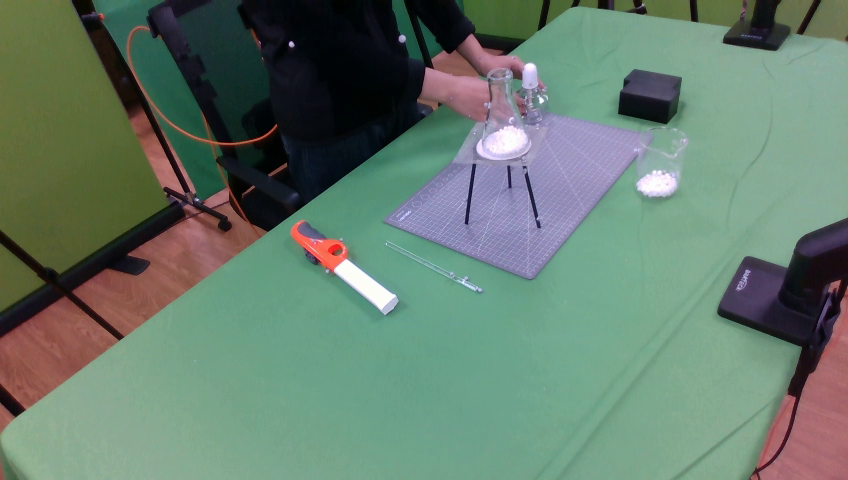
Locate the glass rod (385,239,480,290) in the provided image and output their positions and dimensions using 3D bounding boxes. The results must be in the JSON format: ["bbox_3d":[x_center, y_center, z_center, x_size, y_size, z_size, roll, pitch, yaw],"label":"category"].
[{"bbox_3d":[0.009,0.037,0.950,0.198,0.008,0.008,27,52,35],"label":"glass rod"}]

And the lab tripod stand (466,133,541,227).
[{"bbox_3d":[0.130,-0.099,0.985,0.148,0.132,0.147,-6,38,6],"label":"lab tripod stand"}]

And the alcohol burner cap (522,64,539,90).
[{"bbox_3d":[0.210,-0.325,1.195,0.034,0.048,0.033,-7,46,7],"label":"alcohol burner cap"}]

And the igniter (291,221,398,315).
[{"bbox_3d":[-0.136,0.037,0.962,0.057,0.025,0.274,-41,48,-18],"label":"igniter"}]

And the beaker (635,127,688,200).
[{"bbox_3d":[0.388,-0.122,0.994,0.074,0.101,0.083,-8,40,2],"label":"beaker"}]

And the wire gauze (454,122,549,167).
[{"bbox_3d":[0.122,-0.149,0.943,0.121,0.011,0.125,7,44,22],"label":"wire gauze"}]

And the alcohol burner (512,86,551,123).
[{"bbox_3d":[0.215,-0.298,1.220,0.078,0.120,0.077,-7,40,6],"label":"alcohol burner"}]

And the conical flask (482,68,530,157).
[{"bbox_3d":[0.118,-0.192,0.902,0.075,0.122,0.075,-7,39,6],"label":"conical flask"}]
